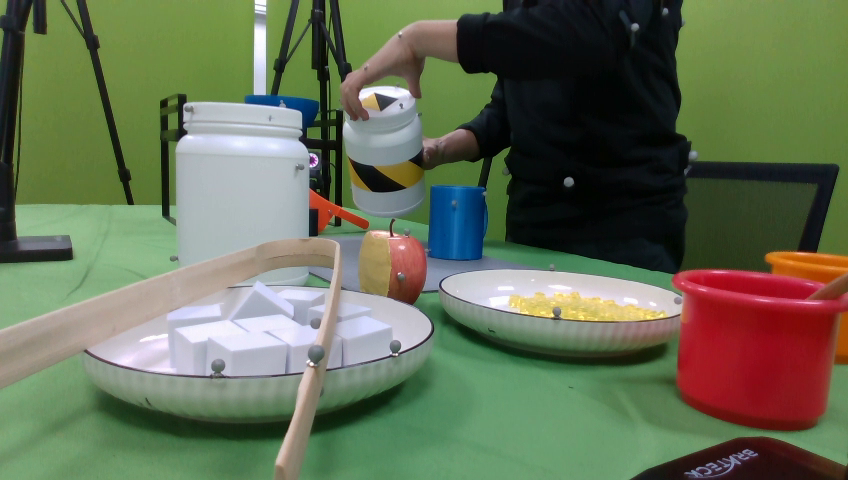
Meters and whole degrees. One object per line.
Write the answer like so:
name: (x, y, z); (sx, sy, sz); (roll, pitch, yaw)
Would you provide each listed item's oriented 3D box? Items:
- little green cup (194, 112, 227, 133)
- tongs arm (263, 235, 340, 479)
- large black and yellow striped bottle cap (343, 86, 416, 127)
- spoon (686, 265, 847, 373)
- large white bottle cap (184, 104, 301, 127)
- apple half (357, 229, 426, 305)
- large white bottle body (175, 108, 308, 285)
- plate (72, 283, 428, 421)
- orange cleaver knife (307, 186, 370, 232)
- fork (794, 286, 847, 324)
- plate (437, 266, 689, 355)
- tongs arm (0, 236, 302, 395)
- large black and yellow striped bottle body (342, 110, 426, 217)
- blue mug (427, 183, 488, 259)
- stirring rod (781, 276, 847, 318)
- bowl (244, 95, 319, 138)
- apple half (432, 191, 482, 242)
little green cup: (-0.412, -0.228, 1.171); (0.061, 0.038, 0.061); (2, 8, 0)
tongs arm: (-0.074, 0.039, 0.349); (0.051, 0.026, 0.384); (-2, 9, -3)
large black and yellow striped bottle cap: (-0.070, -0.213, 0.957); (0.115, 0.019, 0.115); (-3, 37, 3)
spoon: (0.214, 0.032, 0.327); (0.042, 0.021, 0.193); (-2, -35, -25)
large white bottle cap: (-0.184, -0.126, 0.618); (0.115, 0.018, 0.115); (2, 8, 0)
apple half: (-0.026, 0.028, 0.570); (0.053, 0.074, 0.080); (3, 2, -28)
large white bottle body: (-0.188, -0.042, 0.630); (0.131, 0.184, 0.130); (2, 8, 0)
plate: (-0.102, 0.066, 0.381); (0.208, 0.039, 0.207); (2, 7, 0)
orange cleaver knife: (-0.196, -0.056, 1.140); (0.212, 0.077, 0.012); (29, 0, -34)
fork: (0.332, 0.018, 0.443); (0.028, 0.018, 0.207); (-1, -36, -15)
plate: (0.114, 0.057, 0.517); (0.209, 0.038, 0.209); (3, 7, 0)
tongs arm: (-0.157, 0.038, 0.351); (0.028, 0.028, 0.388); (-3, 8, 12)
large black and yellow striped bottle body: (-0.065, -0.147, 1.008); (0.131, 0.184, 0.130); (-3, 38, 2)
blue mug: (0.059, -0.031, 0.907); (0.082, 0.106, 0.117); (9, 9, 42)
stirring rod: (0.344, 0.019, 0.461); (0.014, 0.006, 0.176); (-13, -27, -30)
bowl: (-0.293, -0.251, 1.249); (0.151, 0.077, 0.151); (2, 8, 0)
apple half: (0.048, -0.036, 0.906); (0.081, 0.081, 0.033); (2, 14, 1)
